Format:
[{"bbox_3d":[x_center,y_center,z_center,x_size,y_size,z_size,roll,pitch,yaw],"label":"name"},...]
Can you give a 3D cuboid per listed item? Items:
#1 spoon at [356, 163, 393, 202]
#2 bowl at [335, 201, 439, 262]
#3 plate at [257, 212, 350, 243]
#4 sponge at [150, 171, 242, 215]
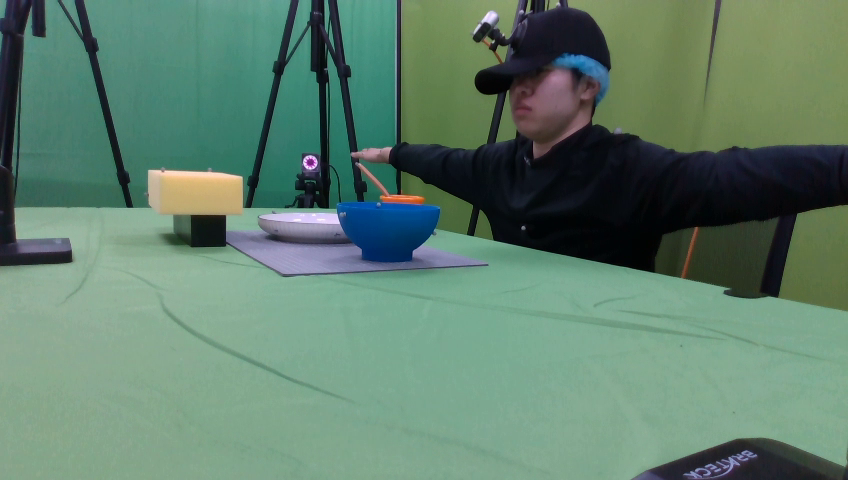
[{"bbox_3d":[-0.078,-0.090,1.233,0.021,0.193,0.042,-44,-16,25],"label":"spoon"},{"bbox_3d":[-0.054,-0.012,0.871,0.151,0.077,0.151,2,8,0],"label":"bowl"},{"bbox_3d":[-0.189,-0.023,1.072,0.209,0.038,0.209,3,7,0],"label":"plate"},{"bbox_3d":[-0.379,-0.079,0.994,0.119,0.061,0.206,-1,8,-29],"label":"sponge"}]
